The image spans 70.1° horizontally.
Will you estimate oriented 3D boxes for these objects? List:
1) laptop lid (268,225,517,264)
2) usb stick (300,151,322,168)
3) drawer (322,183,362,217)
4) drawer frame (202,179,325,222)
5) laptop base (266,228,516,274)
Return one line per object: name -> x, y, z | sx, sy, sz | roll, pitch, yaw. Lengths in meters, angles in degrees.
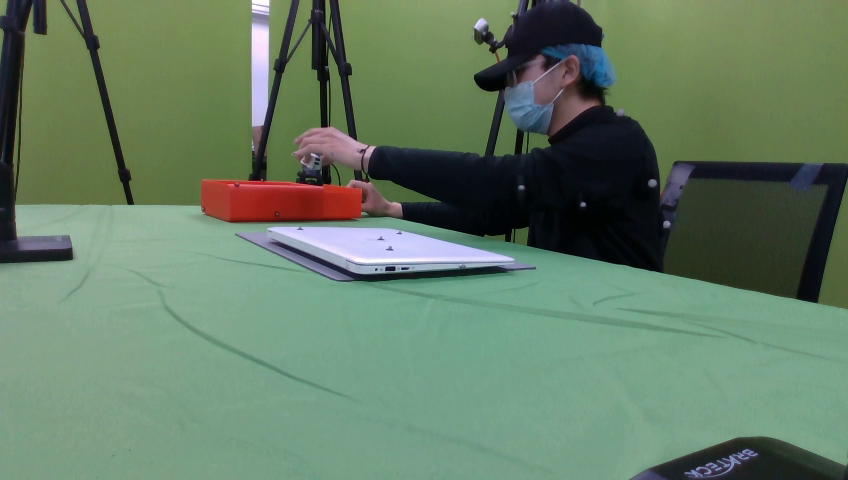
laptop lid -> -0.063, 0.002, 0.877 | 0.243, 0.013, 0.355 | 1, 7, -30
usb stick -> -0.240, -0.171, 1.272 | 0.021, 0.027, 0.059 | 0, 15, -44
drawer -> -0.283, -0.094, 1.416 | 0.213, 0.073, 0.193 | -4, 11, -37
drawer frame -> -0.361, -0.092, 1.356 | 0.215, 0.082, 0.200 | -4, 10, -37
laptop base -> -0.065, 0.014, 0.877 | 0.237, 0.023, 0.352 | 2, 6, -32
